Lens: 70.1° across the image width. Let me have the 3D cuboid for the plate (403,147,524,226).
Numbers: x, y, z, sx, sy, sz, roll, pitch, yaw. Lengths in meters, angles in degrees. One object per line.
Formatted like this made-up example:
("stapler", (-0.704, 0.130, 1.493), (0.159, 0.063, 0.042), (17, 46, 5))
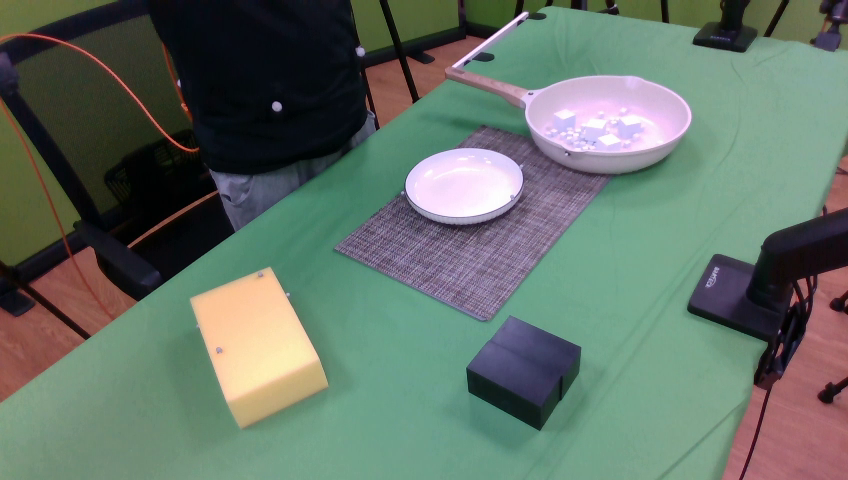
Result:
("plate", (0.069, -0.089, 1.044), (0.207, 0.039, 0.206), (-4, 40, 4))

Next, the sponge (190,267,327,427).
("sponge", (-0.226, 0.135, 0.814), (0.119, 0.061, 0.205), (-23, 43, -19))

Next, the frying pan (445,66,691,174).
("frying pan", (0.250, -0.258, 1.165), (0.485, 0.103, 0.307), (27, 48, 22))
